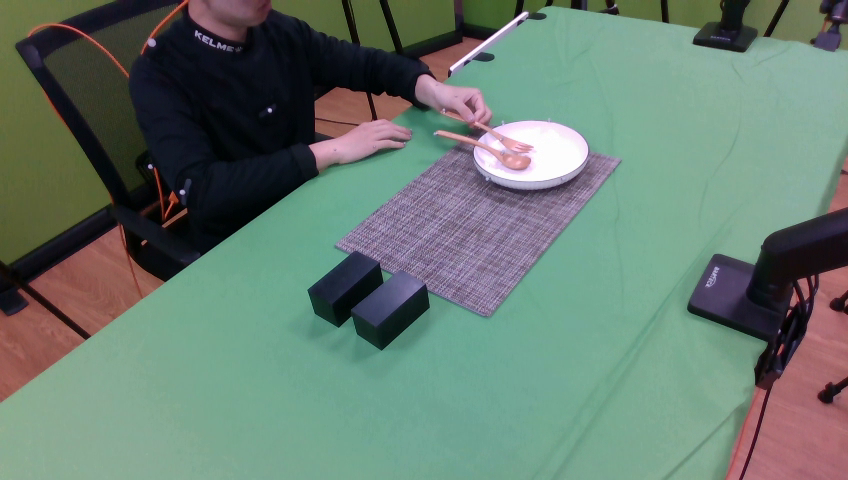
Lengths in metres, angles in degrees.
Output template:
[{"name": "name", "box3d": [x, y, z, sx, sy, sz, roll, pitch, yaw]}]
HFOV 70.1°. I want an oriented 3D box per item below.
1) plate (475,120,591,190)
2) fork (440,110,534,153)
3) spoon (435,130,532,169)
[{"name": "plate", "box3d": [0.196, -0.151, 1.099, 0.207, 0.039, 0.206, -4, 40, 4]}, {"name": "fork", "box3d": [0.115, -0.208, 1.145, 0.206, 0.019, 0.028, 30, 61, 21]}, {"name": "spoon", "box3d": [0.107, -0.171, 1.112, 0.193, 0.022, 0.041, 25, 51, 15]}]
